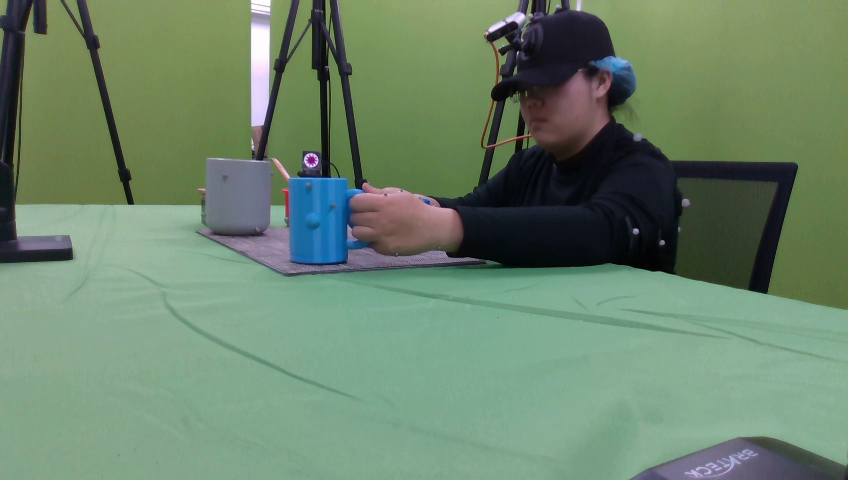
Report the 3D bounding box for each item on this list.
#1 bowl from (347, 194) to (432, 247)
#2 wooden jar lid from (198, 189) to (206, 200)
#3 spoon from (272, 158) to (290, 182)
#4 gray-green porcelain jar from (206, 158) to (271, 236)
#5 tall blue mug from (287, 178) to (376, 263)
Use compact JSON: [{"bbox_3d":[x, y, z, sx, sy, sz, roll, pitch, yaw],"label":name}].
[{"bbox_3d":[-0.066,-0.031,0.984,0.151,0.077,0.151,2,7,0],"label":"bowl"},{"bbox_3d":[-0.382,-0.088,1.175,0.108,0.020,0.108,3,8,0],"label":"wooden jar lid"},{"bbox_3d":[-0.268,-0.103,1.236,0.042,0.193,0.021,-10,-32,-39],"label":"spoon"},{"bbox_3d":[-0.316,-0.074,1.031,0.106,0.126,0.106,3,7,0],"label":"gray-green porcelain jar"},{"bbox_3d":[-0.125,-0.028,0.798,0.108,0.108,0.077,-3,7,-26],"label":"tall blue mug"}]
